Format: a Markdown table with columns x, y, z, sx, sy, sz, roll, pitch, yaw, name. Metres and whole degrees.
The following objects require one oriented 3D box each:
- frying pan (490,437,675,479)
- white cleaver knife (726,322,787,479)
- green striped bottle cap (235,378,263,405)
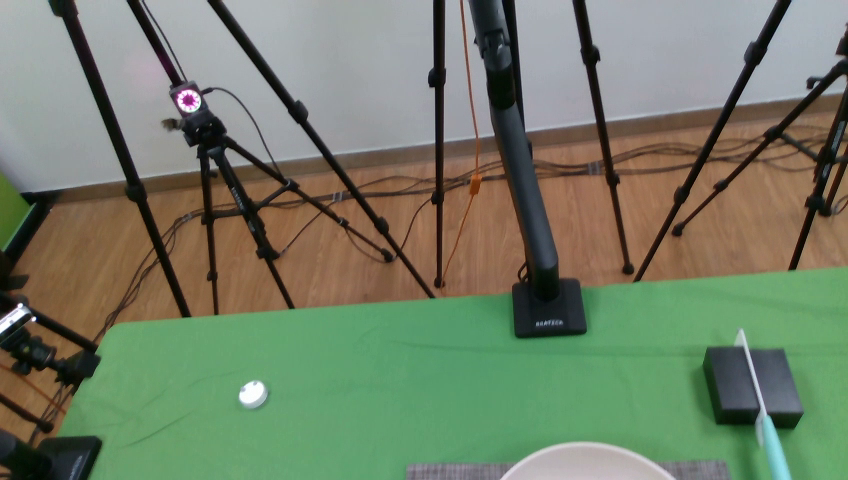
| x | y | z | sx | sy | sz | roll | pitch | yaw | name |
| --- | --- | --- | --- | --- | --- | --- | --- | --- | --- |
| 0.188 | 0.459 | 0.669 | 0.306 | 0.104 | 0.483 | -3 | 39 | 12 | frying pan |
| 0.458 | 0.239 | 0.837 | 0.021 | 0.066 | 0.284 | -6 | 45 | 16 | white cleaver knife |
| -0.299 | 0.259 | 1.036 | 0.044 | 0.020 | 0.044 | -7 | 47 | 8 | green striped bottle cap |
